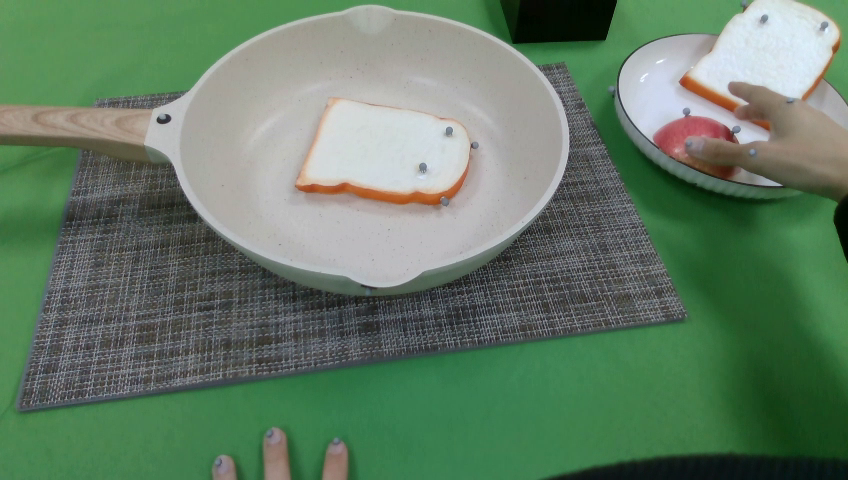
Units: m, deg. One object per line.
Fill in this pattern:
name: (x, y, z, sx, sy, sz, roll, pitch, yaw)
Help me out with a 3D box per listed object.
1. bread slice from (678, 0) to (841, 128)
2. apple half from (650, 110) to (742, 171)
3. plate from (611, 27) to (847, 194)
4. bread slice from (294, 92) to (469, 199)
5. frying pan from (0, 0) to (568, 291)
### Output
bread slice: (0.321, -0.179, 0.568, 0.104, 0.019, 0.131, 35, 80, 20)
apple half: (0.230, -0.088, 0.499, 0.081, 0.033, 0.080, 11, 30, -6)
plate: (0.270, -0.115, 0.545, 0.208, 0.039, 0.205, 1, 53, -1)
bread slice: (-0.030, -0.079, 0.507, 0.134, 0.018, 0.106, 6, 54, 3)
frying pan: (-0.141, -0.082, 0.457, 0.489, 0.103, 0.303, 3, 52, -10)
